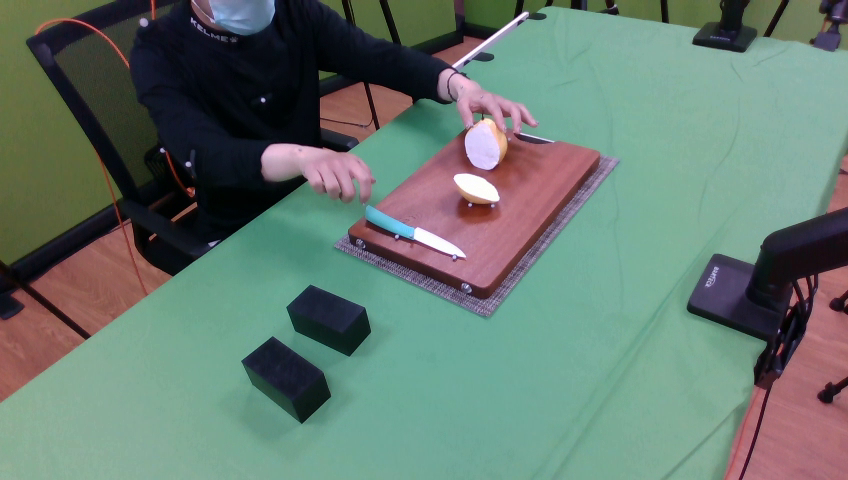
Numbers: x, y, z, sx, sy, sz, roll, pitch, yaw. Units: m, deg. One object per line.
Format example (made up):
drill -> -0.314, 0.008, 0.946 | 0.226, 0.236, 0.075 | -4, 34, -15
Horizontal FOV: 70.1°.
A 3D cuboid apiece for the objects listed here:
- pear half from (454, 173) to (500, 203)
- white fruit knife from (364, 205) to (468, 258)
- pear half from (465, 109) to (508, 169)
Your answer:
pear half -> 0.086, -0.079, 0.994 | 0.071, 0.031, 0.087 | -22, 54, -38
white fruit knife -> -0.017, -0.012, 0.943 | 0.206, 0.016, 0.027 | 24, 64, 29
pear half -> 0.112, -0.185, 1.056 | 0.076, 0.110, 0.056 | 17, 46, 22
